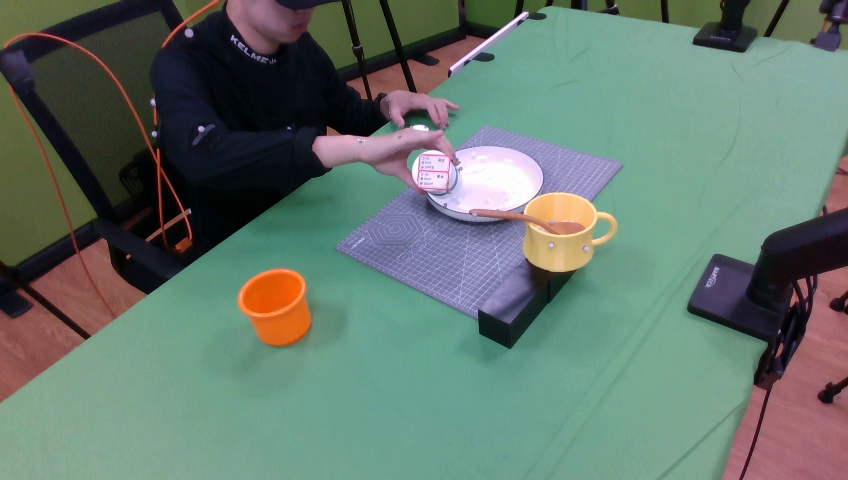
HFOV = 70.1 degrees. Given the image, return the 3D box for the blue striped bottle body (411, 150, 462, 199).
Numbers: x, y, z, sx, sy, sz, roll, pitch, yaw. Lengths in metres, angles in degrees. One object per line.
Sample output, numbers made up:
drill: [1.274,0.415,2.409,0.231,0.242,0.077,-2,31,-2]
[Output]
blue striped bottle body: [0.024,-0.099,0.953,0.063,0.063,0.121,4,-3,14]

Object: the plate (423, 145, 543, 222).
plate: [0.101,-0.094,1.048,0.207,0.039,0.206,-4,41,4]

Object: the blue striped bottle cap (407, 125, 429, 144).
blue striped bottle cap: [-0.012,-0.214,1.227,0.044,0.021,0.044,-5,37,5]

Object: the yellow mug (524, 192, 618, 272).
yellow mug: [0.206,-0.014,0.845,0.131,0.064,0.099,-4,40,2]

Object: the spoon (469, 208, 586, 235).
spoon: [0.143,-0.026,0.817,0.195,0.021,0.041,12,35,-29]
